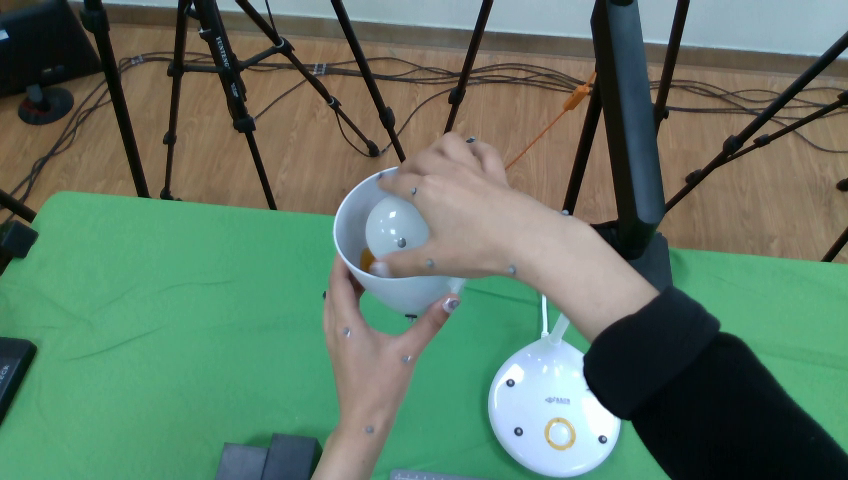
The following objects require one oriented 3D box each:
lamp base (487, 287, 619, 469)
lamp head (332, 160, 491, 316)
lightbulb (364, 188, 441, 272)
[{"bbox_3d":[0.156,0.145,0.685,0.161,0.182,0.177,-6,55,-4],"label":"lamp base"},{"bbox_3d":[-0.004,0.010,0.512,0.112,0.124,0.111,-8,56,13],"label":"lamp head"},{"bbox_3d":[-0.013,0.002,0.488,0.059,0.108,0.059,-4,61,7],"label":"lightbulb"}]
